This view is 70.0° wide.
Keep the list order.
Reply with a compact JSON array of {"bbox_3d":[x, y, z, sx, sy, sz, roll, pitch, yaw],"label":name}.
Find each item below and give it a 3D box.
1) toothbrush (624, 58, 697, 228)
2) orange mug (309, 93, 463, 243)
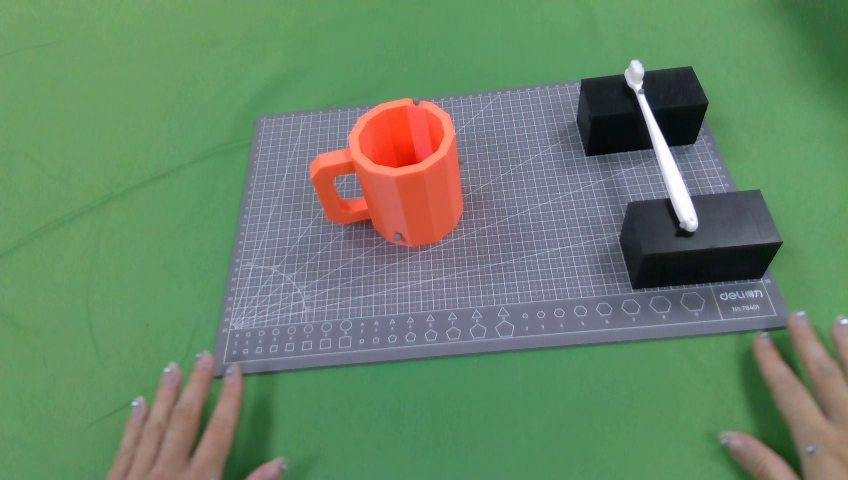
[{"bbox_3d":[0.192,-0.085,0.495,0.014,0.017,0.180,2,56,-9],"label":"toothbrush"},{"bbox_3d":[-0.030,-0.057,0.516,0.126,0.102,0.082,-10,55,-4],"label":"orange mug"}]
